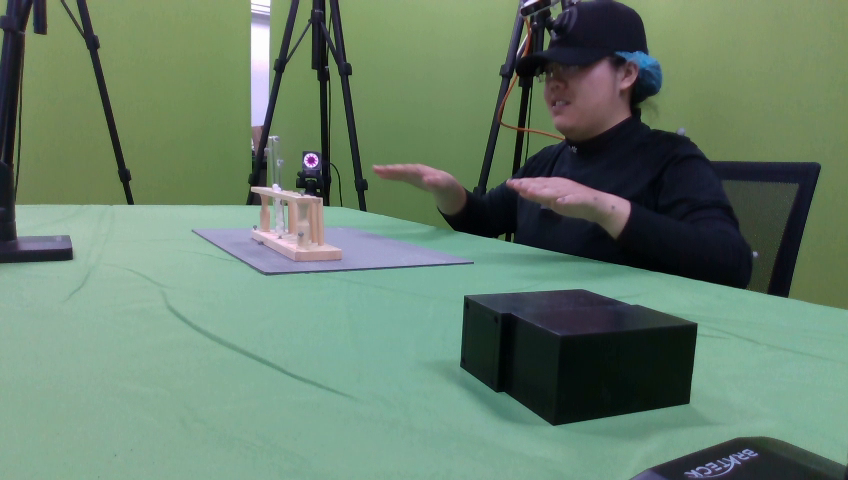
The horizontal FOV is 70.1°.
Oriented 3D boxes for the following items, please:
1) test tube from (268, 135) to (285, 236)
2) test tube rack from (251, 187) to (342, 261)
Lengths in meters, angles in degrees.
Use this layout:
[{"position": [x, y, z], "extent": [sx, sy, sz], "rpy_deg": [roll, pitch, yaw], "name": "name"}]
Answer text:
[{"position": [-0.220, -0.081, 0.902], "extent": [0.017, 0.150, 0.017], "rpy_deg": [-3, 6, 1], "name": "test tube"}, {"position": [-0.196, -0.030, 0.902], "extent": [0.067, 0.085, 0.241], "rpy_deg": [-2, 8, -29], "name": "test tube rack"}]
